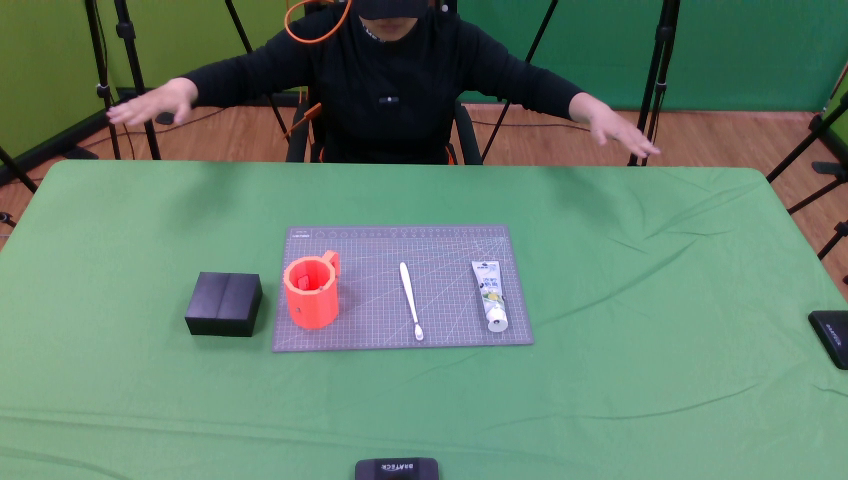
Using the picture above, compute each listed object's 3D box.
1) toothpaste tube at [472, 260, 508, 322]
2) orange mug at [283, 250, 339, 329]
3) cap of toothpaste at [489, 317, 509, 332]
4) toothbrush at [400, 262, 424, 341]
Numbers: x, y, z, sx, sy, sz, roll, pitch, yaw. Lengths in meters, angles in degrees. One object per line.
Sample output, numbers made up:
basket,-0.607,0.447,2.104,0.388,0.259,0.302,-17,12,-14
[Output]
toothpaste tube,0.126,0.094,1.109,0.055,0.034,0.164,3,41,-9
orange mug,-0.186,0.078,1.052,0.083,0.101,0.126,20,52,15
cap of toothpaste,0.130,0.146,1.050,0.037,0.037,0.011,-1,42,-5
toothbrush,-0.025,0.106,1.093,0.014,0.017,0.180,-18,46,2
